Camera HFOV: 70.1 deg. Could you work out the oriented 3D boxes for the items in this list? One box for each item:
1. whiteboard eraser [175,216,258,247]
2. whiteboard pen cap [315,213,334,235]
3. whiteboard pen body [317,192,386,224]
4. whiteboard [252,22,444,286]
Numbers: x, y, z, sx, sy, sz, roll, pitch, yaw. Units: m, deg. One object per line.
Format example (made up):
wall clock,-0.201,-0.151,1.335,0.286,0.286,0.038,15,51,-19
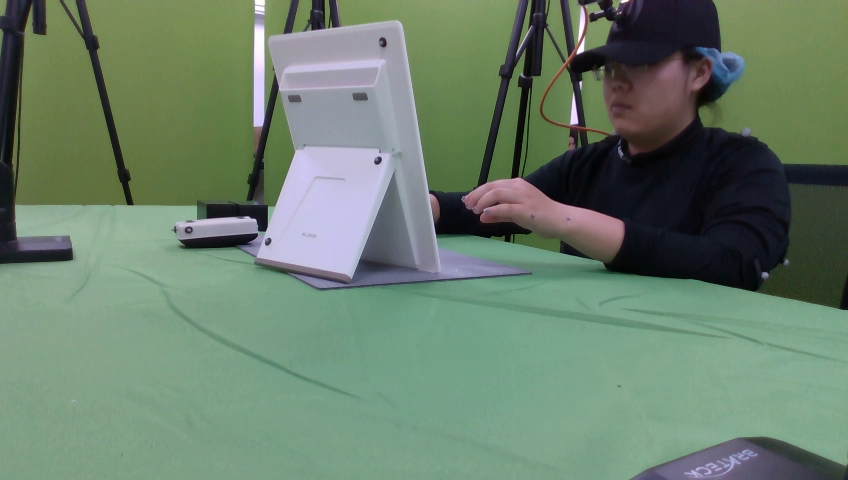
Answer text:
whiteboard eraser,-0.313,-0.012,0.915,0.113,0.042,0.055,-5,12,-30
whiteboard pen cap,-0.159,-0.025,0.955,0.018,0.033,0.018,38,-2,2
whiteboard pen body,-0.118,-0.051,0.996,0.141,0.017,0.017,-27,25,-38
whiteboard,-0.125,-0.081,0.714,0.216,0.305,0.144,9,29,36
